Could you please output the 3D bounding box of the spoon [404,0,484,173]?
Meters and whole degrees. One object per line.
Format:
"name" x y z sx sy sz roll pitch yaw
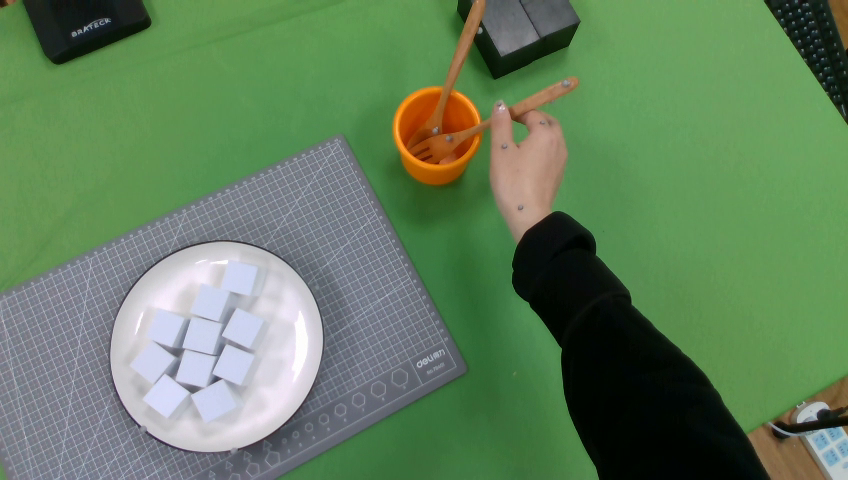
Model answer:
"spoon" 0.023 -0.154 0.620 0.041 0.195 0.021 28 35 7

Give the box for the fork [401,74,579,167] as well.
"fork" 0.060 -0.118 0.609 0.207 0.018 0.028 -20 94 37

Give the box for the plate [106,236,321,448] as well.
"plate" -0.206 0.101 0.611 0.208 0.039 0.206 1 78 -2
